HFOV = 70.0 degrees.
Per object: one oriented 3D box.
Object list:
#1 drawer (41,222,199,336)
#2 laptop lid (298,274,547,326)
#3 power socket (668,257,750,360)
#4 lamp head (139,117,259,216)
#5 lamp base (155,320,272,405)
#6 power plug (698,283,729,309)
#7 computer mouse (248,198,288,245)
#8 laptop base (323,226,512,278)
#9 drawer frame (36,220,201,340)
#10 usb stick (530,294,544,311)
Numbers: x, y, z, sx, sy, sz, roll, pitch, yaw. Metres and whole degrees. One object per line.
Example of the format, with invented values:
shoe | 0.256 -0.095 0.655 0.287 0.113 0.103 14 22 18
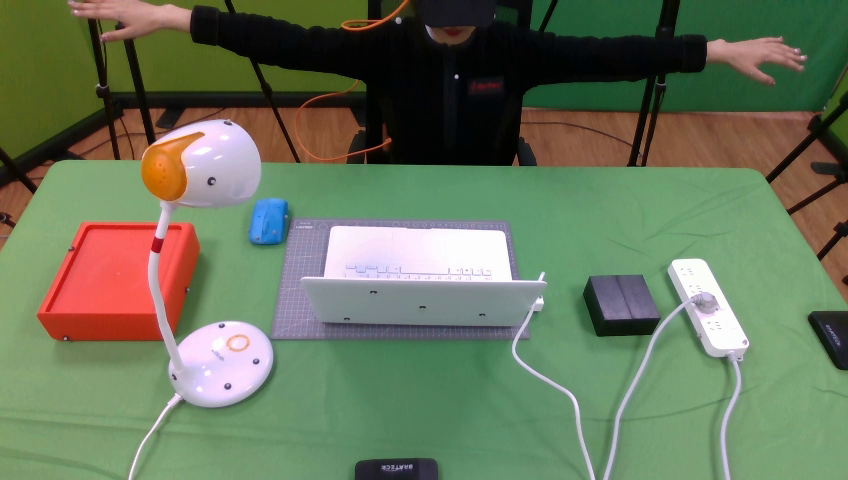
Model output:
drawer | -0.519 0.064 1.058 0.195 0.073 0.210 1 46 -4
laptop lid | -0.004 0.099 0.947 0.357 0.242 0.013 2 67 -4
power socket | 0.517 0.117 1.110 0.072 0.033 0.225 -3 47 -4
lamp head | -0.281 -0.086 0.734 0.112 0.113 0.123 21 25 16
lamp base | -0.330 0.149 0.918 0.160 0.181 0.179 26 52 20
power plug | 0.510 0.096 1.060 0.052 0.073 0.035 -20 61 8
computer mouse | -0.309 -0.041 1.205 0.063 0.041 0.116 3 50 -3
laptop base | -0.010 0.063 1.137 0.354 0.023 0.234 1 42 -3
drawer frame | -0.518 0.065 1.055 0.202 0.083 0.212 0 47 -5
usb stick | 0.183 0.111 1.086 0.059 0.027 0.021 0 47 -4
